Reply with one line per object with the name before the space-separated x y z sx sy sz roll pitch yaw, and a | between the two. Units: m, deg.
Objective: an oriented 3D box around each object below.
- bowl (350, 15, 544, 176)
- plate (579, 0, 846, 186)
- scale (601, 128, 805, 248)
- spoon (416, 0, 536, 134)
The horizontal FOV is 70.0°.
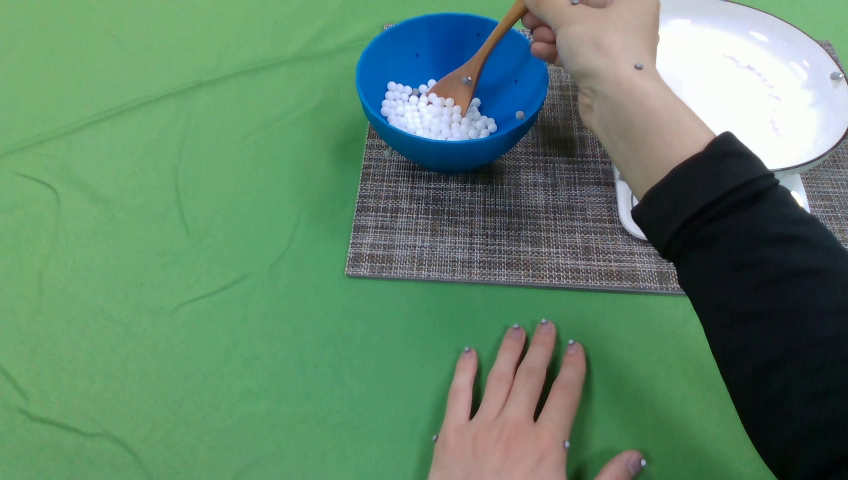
bowl | 0.018 -0.106 0.499 0.151 0.077 0.150 0 55 0
plate | 0.229 -0.121 0.499 0.209 0.038 0.207 1 56 -1
scale | 0.227 -0.084 0.513 0.148 0.032 0.199 2 56 1
spoon | 0.053 -0.151 0.460 0.022 0.194 0.041 -11 65 -43
